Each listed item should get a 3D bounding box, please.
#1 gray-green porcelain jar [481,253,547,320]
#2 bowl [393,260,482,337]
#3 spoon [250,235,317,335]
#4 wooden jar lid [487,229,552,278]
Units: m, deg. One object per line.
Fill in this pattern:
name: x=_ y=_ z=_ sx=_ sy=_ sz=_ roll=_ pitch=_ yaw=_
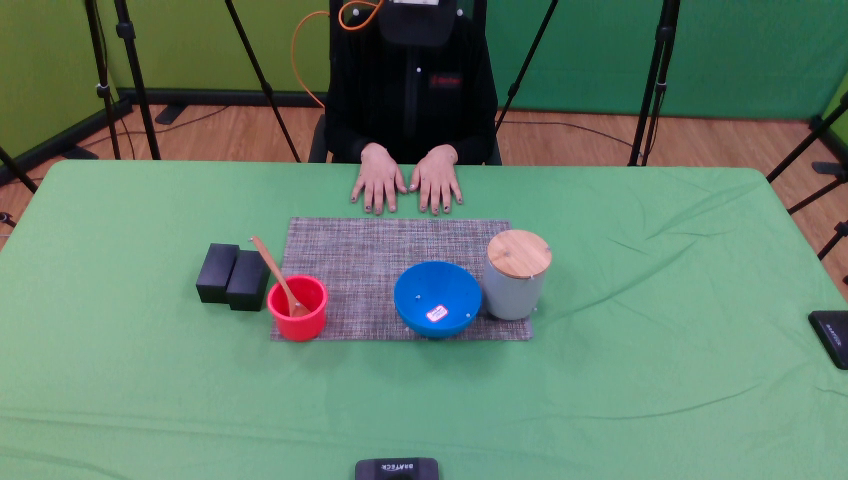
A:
gray-green porcelain jar: x=0.156 y=0.070 z=1.064 sx=0.106 sy=0.127 sz=0.105 roll=2 pitch=46 yaw=-2
bowl: x=0.021 y=0.115 z=1.045 sx=0.151 sy=0.077 sz=0.150 roll=2 pitch=46 yaw=-2
spoon: x=-0.237 y=0.075 z=1.019 sx=0.041 sy=0.021 sz=0.194 roll=-32 pitch=100 yaw=-32
wooden jar lid: x=0.160 y=0.026 z=1.018 sx=0.108 sy=0.021 sz=0.107 roll=2 pitch=47 yaw=-1
